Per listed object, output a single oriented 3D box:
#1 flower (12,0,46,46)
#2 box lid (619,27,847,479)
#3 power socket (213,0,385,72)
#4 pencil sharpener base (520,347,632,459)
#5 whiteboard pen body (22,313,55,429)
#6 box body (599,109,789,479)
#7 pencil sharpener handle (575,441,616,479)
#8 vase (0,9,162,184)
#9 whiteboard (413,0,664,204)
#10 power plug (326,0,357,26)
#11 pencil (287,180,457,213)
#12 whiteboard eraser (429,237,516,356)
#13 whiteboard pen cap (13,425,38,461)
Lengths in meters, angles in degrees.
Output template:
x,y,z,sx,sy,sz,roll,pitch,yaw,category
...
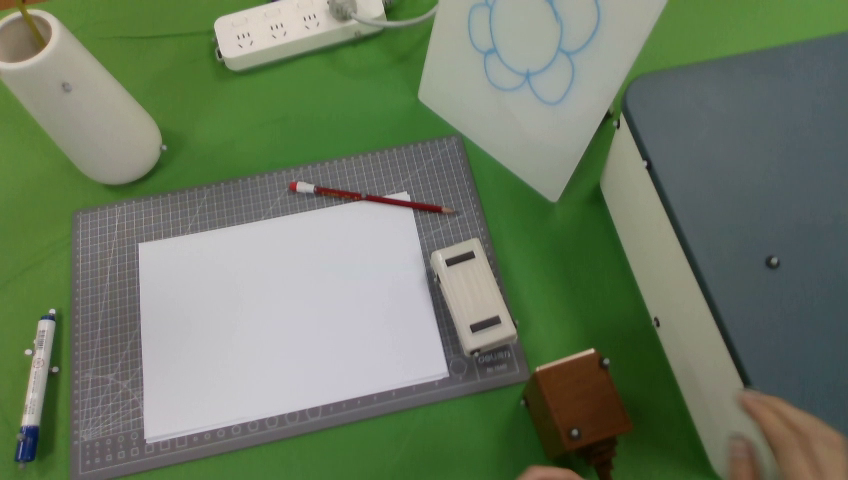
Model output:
x,y,z,sx,sy,sz,roll,pitch,yaw,category
-0.356,-0.190,0.558,0.038,0.365,0.043,-24,49,-16,flower
0.335,-0.014,0.484,0.263,0.015,0.368,-13,66,-4,box lid
-0.157,-0.273,0.766,0.227,0.033,0.071,-18,68,-6,power socket
0.130,0.150,0.534,0.061,0.108,0.076,-17,67,-5,pencil sharpener base
-0.384,0.139,0.601,0.017,0.017,0.139,-9,63,-1,whiteboard pen body
0.338,0.019,0.552,0.254,0.161,0.361,-13,67,-4,box body
0.149,0.187,0.503,0.036,0.068,0.030,-23,67,9,pencil sharpener handle
-0.355,-0.140,0.625,0.098,0.201,0.097,-1,66,3,vase
0.139,-0.230,0.622,0.216,0.307,0.144,41,55,18,whiteboard
-0.100,-0.273,0.738,0.035,0.053,0.072,-8,68,-1,power plug
-0.058,-0.047,0.676,0.194,0.012,0.012,10,67,4,pencil
0.048,0.056,0.610,0.055,0.042,0.111,-17,67,-7,whiteboard eraser
-0.378,0.192,0.575,0.018,0.018,0.033,-8,61,-1,whiteboard pen cap
